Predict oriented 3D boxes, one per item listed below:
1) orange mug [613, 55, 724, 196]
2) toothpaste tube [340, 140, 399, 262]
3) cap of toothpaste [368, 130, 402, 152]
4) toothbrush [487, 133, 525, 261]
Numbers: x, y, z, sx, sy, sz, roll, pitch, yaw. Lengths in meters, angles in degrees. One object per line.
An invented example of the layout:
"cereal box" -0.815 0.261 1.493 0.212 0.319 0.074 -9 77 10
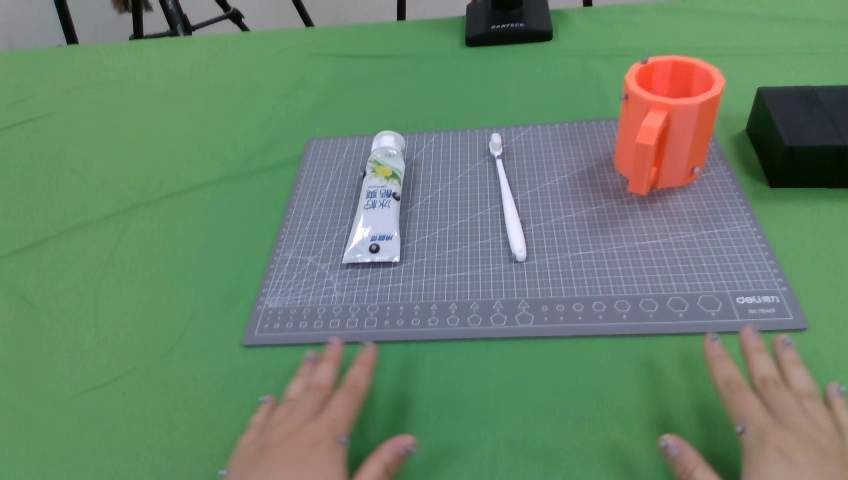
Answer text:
"orange mug" 0.222 -0.103 0.573 0.083 0.102 0.126 19 46 26
"toothpaste tube" -0.048 -0.043 0.604 0.055 0.035 0.163 -6 49 10
"cap of toothpaste" -0.042 -0.102 0.653 0.037 0.038 0.011 0 51 8
"toothbrush" 0.080 -0.048 0.597 0.014 0.017 0.180 3 45 -7
